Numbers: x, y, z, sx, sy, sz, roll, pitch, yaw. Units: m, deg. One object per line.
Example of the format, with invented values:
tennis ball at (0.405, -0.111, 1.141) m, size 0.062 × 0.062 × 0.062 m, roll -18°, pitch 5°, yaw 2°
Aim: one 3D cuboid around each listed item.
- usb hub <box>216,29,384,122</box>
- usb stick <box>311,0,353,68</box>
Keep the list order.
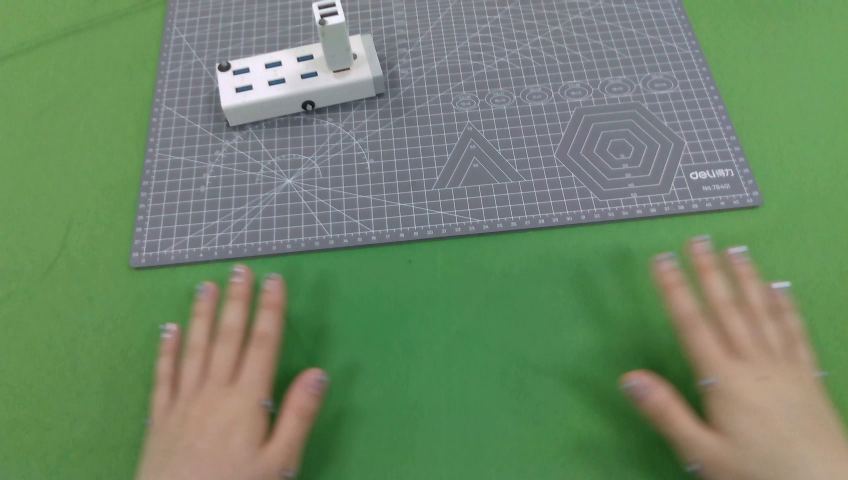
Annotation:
usb hub at (-0.098, -0.132, 0.479) m, size 0.125 × 0.025 × 0.049 m, roll -13°, pitch 63°, yaw -6°
usb stick at (-0.067, -0.151, 0.453) m, size 0.021 × 0.059 × 0.027 m, roll -15°, pitch 61°, yaw -6°
